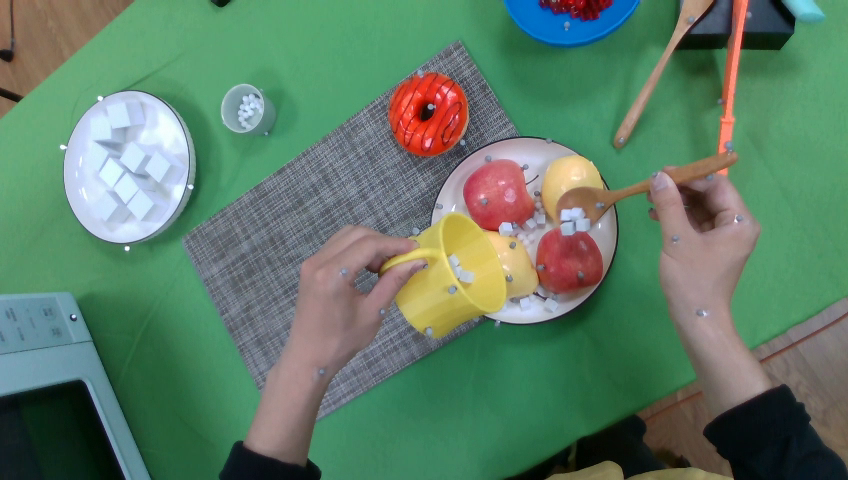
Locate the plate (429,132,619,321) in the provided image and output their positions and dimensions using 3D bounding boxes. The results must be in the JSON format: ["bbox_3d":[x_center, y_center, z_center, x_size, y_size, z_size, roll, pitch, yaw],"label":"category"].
[{"bbox_3d":[0.110,-0.015,0.677,0.208,0.038,0.209,0,89,15],"label":"plate"}]

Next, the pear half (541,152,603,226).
[{"bbox_3d":[0.154,-0.049,0.650,0.070,0.031,0.088,2,101,39],"label":"pear half"}]

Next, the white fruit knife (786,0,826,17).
[{"bbox_3d":[0.318,-0.298,0.585,0.027,0.016,0.206,-26,79,-15],"label":"white fruit knife"}]

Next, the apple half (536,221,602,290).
[{"bbox_3d":[0.147,0.018,0.647,0.081,0.033,0.081,7,102,36],"label":"apple half"}]

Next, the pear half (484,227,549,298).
[{"bbox_3d":[0.091,0.033,0.667,0.109,0.056,0.076,31,102,9],"label":"pear half"}]

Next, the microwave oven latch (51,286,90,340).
[{"bbox_3d":[-0.491,0.102,0.831,0.030,0.029,0.079,-27,83,13],"label":"microwave oven latch"}]

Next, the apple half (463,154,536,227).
[{"bbox_3d":[0.080,-0.054,0.667,0.074,0.053,0.080,-15,88,16],"label":"apple half"}]

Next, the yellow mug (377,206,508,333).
[{"bbox_3d":[0.012,0.025,0.541,0.064,0.132,0.099,-30,64,30],"label":"yellow mug"}]

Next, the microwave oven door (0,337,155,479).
[{"bbox_3d":[-0.421,0.292,0.702,0.039,0.245,0.354,-30,81,13],"label":"microwave oven door"}]

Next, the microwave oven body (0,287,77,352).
[{"bbox_3d":[-0.562,0.325,0.748,0.326,0.261,0.440,-30,82,13],"label":"microwave oven body"}]

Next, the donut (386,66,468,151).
[{"bbox_3d":[0.003,-0.152,0.705,0.099,0.048,0.099,0,91,18],"label":"donut"}]

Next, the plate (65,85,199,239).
[{"bbox_3d":[-0.392,-0.104,0.825,0.207,0.039,0.207,0,89,16],"label":"plate"}]

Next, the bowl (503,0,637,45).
[{"bbox_3d":[0.160,-0.275,0.649,0.151,0.077,0.151,0,90,16],"label":"bowl"}]

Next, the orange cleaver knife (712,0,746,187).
[{"bbox_3d":[0.305,-0.160,0.604,0.012,0.077,0.213,5,116,21],"label":"orange cleaver knife"}]

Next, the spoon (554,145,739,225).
[{"bbox_3d":[0.184,-0.047,0.531,0.022,0.193,0.041,-12,87,-28],"label":"spoon"}]

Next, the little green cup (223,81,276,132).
[{"bbox_3d":[-0.222,-0.168,0.777,0.061,0.039,0.061,0,89,17],"label":"little green cup"}]

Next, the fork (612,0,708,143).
[{"bbox_3d":[0.245,-0.191,0.618,0.028,0.018,0.208,26,117,7],"label":"fork"}]
